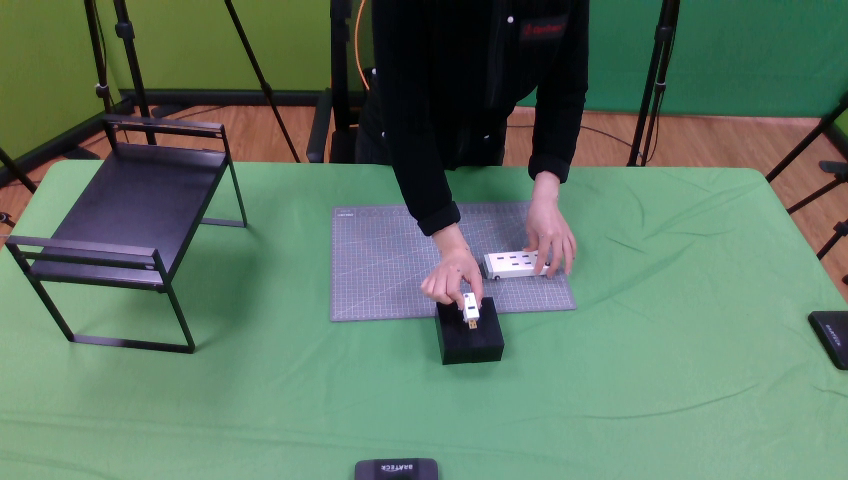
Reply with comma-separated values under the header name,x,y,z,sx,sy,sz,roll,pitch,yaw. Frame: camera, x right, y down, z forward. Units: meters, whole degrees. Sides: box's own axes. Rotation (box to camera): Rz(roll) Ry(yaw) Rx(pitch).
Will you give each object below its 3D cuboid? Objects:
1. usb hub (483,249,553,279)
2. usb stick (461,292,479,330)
name,x,y,z,sx,sy,sz,roll,pitch,yaw
usb hub,0.179,0.046,1.159,0.125,0.025,0.049,-4,48,-8
usb stick,0.078,0.119,1.010,0.021,0.027,0.059,-6,70,-8
